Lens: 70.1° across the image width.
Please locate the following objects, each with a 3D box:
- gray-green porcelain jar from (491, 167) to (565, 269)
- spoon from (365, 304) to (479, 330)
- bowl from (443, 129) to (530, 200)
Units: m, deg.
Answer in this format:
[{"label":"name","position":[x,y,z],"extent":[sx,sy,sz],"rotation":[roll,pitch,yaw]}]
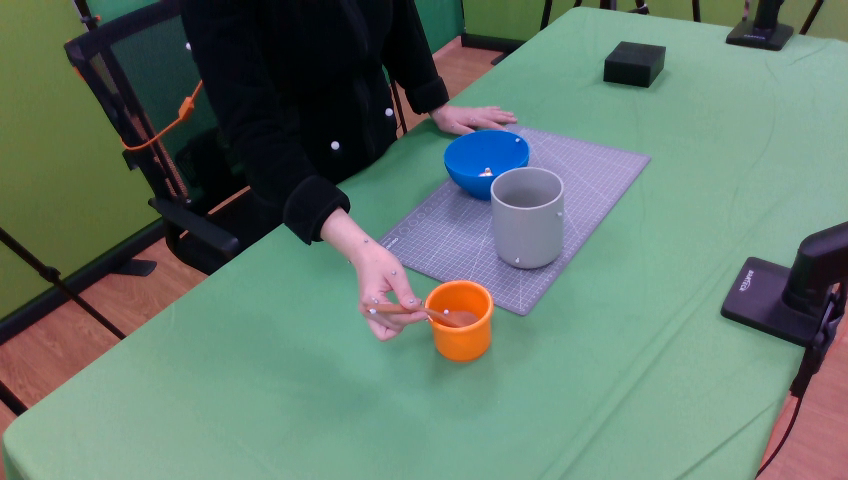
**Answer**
[{"label":"gray-green porcelain jar","position":[0.157,-0.029,0.904],"extent":[0.106,0.127,0.105],"rotation":[-6,40,5]},{"label":"spoon","position":[0.001,0.091,0.750],"extent":[0.195,0.021,0.041],"rotation":[18,18,-46]},{"label":"bowl","position":[0.113,-0.123,1.063],"extent":[0.151,0.077,0.150],"rotation":[-6,40,5]}]
